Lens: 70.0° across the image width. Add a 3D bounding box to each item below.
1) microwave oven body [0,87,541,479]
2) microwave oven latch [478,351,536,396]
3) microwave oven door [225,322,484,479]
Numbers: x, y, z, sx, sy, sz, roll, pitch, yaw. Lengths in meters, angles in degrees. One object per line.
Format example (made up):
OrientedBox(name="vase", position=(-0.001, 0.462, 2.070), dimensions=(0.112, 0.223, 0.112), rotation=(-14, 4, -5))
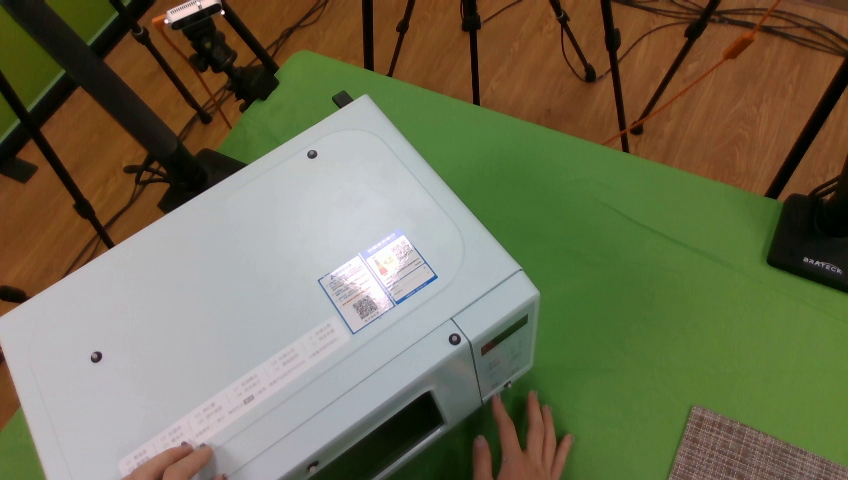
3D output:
OrientedBox(name="microwave oven body", position=(-0.145, 0.103, 0.671), dimensions=(0.442, 0.262, 0.323), rotation=(-35, 64, -9))
OrientedBox(name="microwave oven latch", position=(0.096, 0.151, 0.722), dimensions=(0.079, 0.030, 0.030), rotation=(-33, 64, -9))
OrientedBox(name="microwave oven door", position=(-0.098, 0.225, 0.596), dimensions=(0.356, 0.246, 0.039), rotation=(-34, 63, -10))
